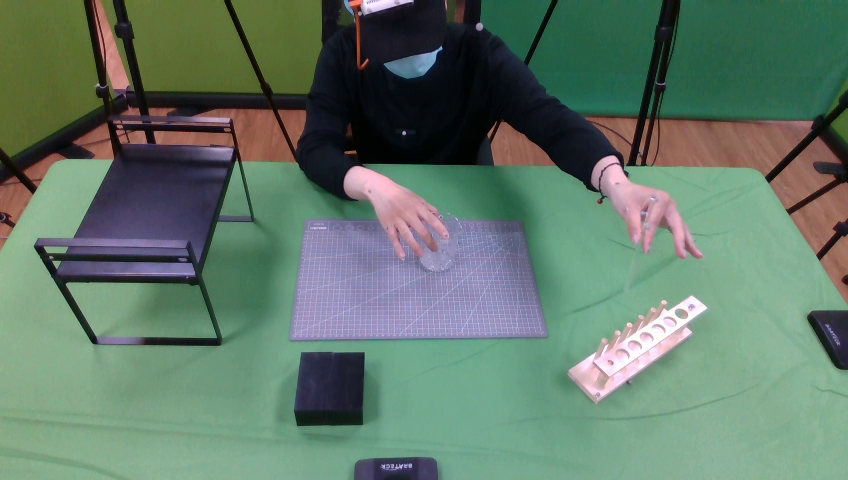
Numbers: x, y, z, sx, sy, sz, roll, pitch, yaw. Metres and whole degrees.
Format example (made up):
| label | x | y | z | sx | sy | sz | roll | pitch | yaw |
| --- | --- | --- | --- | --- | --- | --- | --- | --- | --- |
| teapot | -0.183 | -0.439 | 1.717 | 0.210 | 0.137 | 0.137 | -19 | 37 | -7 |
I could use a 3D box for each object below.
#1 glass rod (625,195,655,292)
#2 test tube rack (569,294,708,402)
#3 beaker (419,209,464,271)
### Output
| label | x | y | z | sx | sy | sz | roll | pitch | yaw |
| --- | --- | --- | --- | --- | --- | --- | --- | --- | --- |
| glass rod | 0.318 | 0.011 | 0.899 | 0.008 | 0.201 | 0.008 | -2 | 44 | 2 |
| test tube rack | 0.360 | 0.167 | 1.015 | 0.242 | 0.085 | 0.066 | -25 | 52 | -25 |
| beaker | 0.030 | 0.004 | 1.134 | 0.084 | 0.101 | 0.073 | 11 | 47 | 6 |
